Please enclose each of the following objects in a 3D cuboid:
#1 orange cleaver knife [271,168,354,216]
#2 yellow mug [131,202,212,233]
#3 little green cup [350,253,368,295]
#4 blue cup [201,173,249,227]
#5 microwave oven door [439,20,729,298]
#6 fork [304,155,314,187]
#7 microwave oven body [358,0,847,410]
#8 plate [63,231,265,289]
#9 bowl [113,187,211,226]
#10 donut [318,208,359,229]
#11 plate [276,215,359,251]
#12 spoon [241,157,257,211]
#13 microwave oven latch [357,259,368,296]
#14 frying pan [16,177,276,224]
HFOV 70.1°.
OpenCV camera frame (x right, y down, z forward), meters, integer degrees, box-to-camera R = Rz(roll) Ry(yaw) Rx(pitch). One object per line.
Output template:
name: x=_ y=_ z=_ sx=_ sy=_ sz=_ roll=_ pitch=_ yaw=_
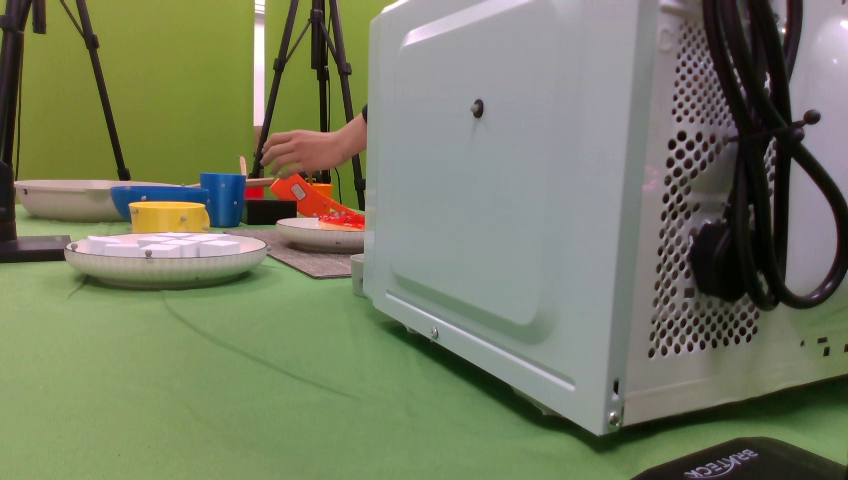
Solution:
orange cleaver knife: x=-0.236 y=-0.084 z=1.332 sx=0.212 sy=0.077 sz=0.012 roll=31 pitch=-9 yaw=-31
yellow mug: x=-0.356 y=-0.020 z=0.878 sx=0.099 sy=0.064 sz=0.131 roll=5 pitch=7 yaw=21
little green cup: x=-0.048 y=0.035 z=0.632 sx=0.061 sy=0.038 sz=0.061 roll=3 pitch=6 yaw=0
blue cup: x=-0.384 y=-0.076 z=1.164 sx=0.093 sy=0.100 sz=0.092 roll=2 pitch=6 yaw=0
microwave oven door: x=0.181 y=-0.076 z=0.618 sx=0.358 sy=0.243 sz=0.039 roll=-2 pitch=8 yaw=-28
fork: x=-0.268 y=-0.134 z=1.446 sx=0.028 sy=0.018 sz=0.207 roll=1 pitch=-36 yaw=-1
microwave oven body: x=0.210 y=-0.051 z=0.471 sx=0.444 sy=0.260 sz=0.324 roll=-1 pitch=7 yaw=-28
plate: x=-0.288 y=0.021 z=0.687 sx=0.208 sy=0.039 sz=0.207 roll=2 pitch=8 yaw=0
bowl: x=-0.436 y=-0.046 z=1.013 sx=0.151 sy=0.077 sz=0.151 roll=2 pitch=7 yaw=0
donut: x=-0.118 y=-0.024 z=0.954 sx=0.099 sy=0.048 sz=0.099 roll=5 pitch=7 yaw=0
plate: x=-0.126 y=-0.012 z=0.950 sx=0.209 sy=0.038 sz=0.209 roll=2 pitch=7 yaw=0
spoon: x=-0.432 y=-0.140 z=1.472 sx=0.042 sy=0.021 sz=0.193 roll=-1 pitch=52 yaw=-20
microwave oven latch: x=-0.019 y=0.031 z=0.528 sx=0.079 sy=0.029 sz=0.030 roll=-1 pitch=7 yaw=-25
frying pan: x=-0.554 y=-0.097 z=1.266 sx=0.490 sy=0.102 sz=0.305 roll=-10 pitch=13 yaw=-24
